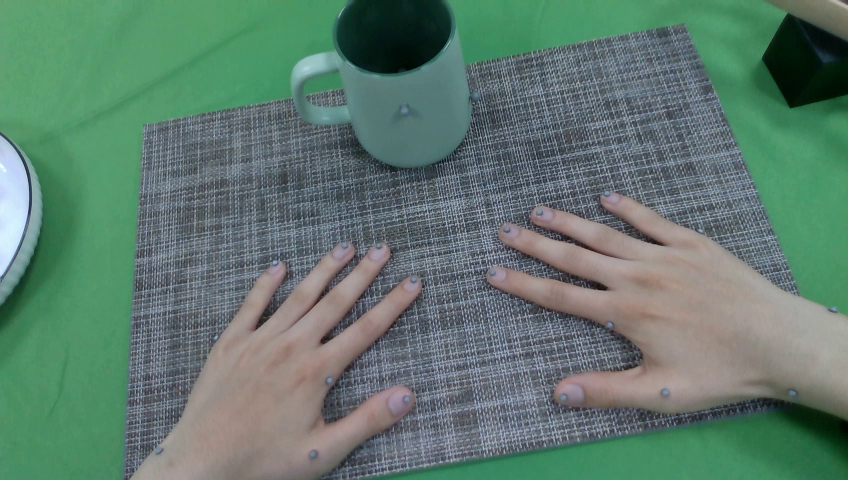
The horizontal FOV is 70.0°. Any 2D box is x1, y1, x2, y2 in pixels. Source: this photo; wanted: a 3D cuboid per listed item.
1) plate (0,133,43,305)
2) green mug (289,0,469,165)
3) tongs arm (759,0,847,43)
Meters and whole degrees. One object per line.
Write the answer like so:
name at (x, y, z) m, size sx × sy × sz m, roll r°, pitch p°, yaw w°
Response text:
plate at (-0.387, 0.003, 0.460) m, size 0.209 × 0.038 × 0.207 m, roll -2°, pitch 66°, yaw 5°
green mug at (-0.032, -0.110, 0.429) m, size 0.125 × 0.106 × 0.091 m, roll -11°, pitch 66°, yaw 1°
tongs arm at (0.339, -0.113, 0.384) m, size 0.385 × 0.028 × 0.028 m, roll 37°, pitch 83°, yaw 19°
